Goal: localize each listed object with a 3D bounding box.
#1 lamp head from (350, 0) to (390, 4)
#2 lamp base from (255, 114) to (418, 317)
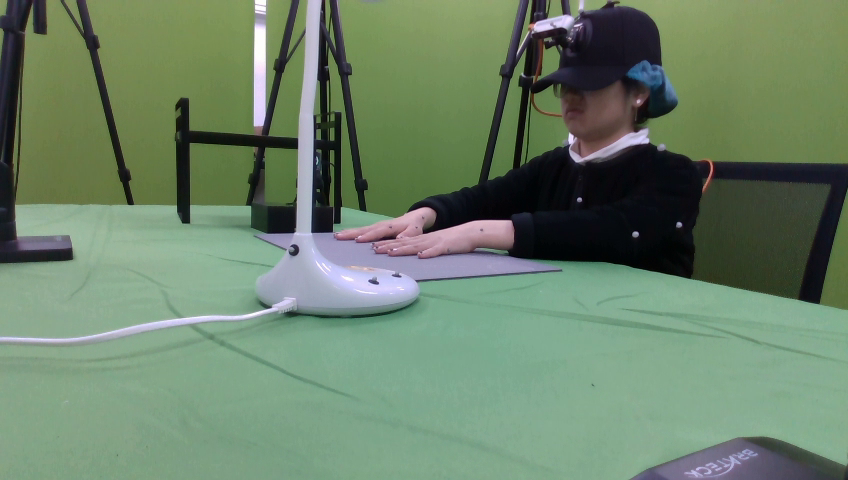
[{"bbox_3d":[-0.053,-0.313,0.597,0.112,0.112,0.123,6,-28,25],"label":"lamp head"},{"bbox_3d":[-0.086,-0.027,0.577,0.160,0.180,0.179,4,10,16],"label":"lamp base"}]
